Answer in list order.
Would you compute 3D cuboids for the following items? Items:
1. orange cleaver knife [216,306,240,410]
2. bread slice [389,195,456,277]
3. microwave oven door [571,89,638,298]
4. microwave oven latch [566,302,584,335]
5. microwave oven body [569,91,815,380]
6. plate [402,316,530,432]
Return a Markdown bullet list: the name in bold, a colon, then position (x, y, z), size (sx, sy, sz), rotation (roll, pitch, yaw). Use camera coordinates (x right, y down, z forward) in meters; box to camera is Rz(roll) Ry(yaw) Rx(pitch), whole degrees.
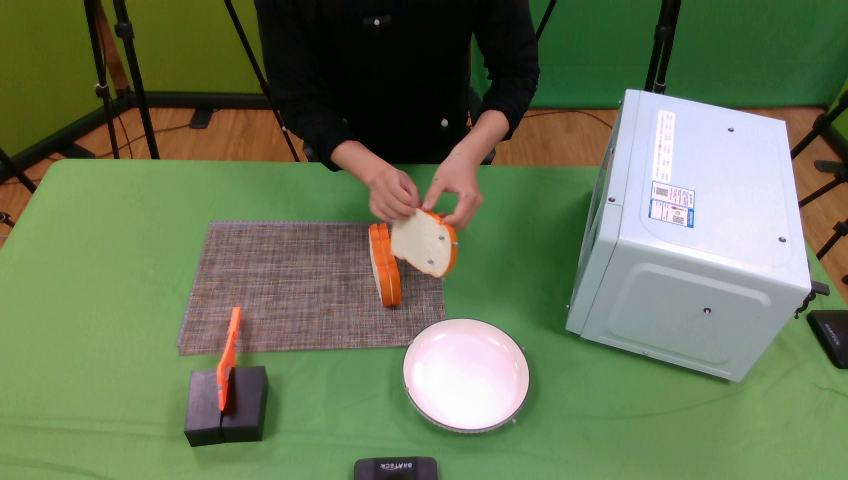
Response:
- **orange cleaver knife**: position (-0.307, 0.180, 0.957), size (0.012, 0.077, 0.210), rotation (-2, 25, -8)
- **bread slice**: position (-0.003, -0.004, 0.958), size (0.018, 0.107, 0.133), rotation (-21, 35, -41)
- **microwave oven door**: position (0.343, -0.091, 1.133), size (0.039, 0.245, 0.354), rotation (15, 47, 10)
- **microwave oven latch**: position (0.268, 0.126, 1.059), size (0.030, 0.029, 0.079), rotation (16, 46, 12)
- **microwave oven body**: position (0.468, -0.022, 1.082), size (0.325, 0.261, 0.440), rotation (15, 46, 11)
- **plate**: position (0.066, 0.217, 0.982), size (0.208, 0.039, 0.206), rotation (2, 46, -2)
